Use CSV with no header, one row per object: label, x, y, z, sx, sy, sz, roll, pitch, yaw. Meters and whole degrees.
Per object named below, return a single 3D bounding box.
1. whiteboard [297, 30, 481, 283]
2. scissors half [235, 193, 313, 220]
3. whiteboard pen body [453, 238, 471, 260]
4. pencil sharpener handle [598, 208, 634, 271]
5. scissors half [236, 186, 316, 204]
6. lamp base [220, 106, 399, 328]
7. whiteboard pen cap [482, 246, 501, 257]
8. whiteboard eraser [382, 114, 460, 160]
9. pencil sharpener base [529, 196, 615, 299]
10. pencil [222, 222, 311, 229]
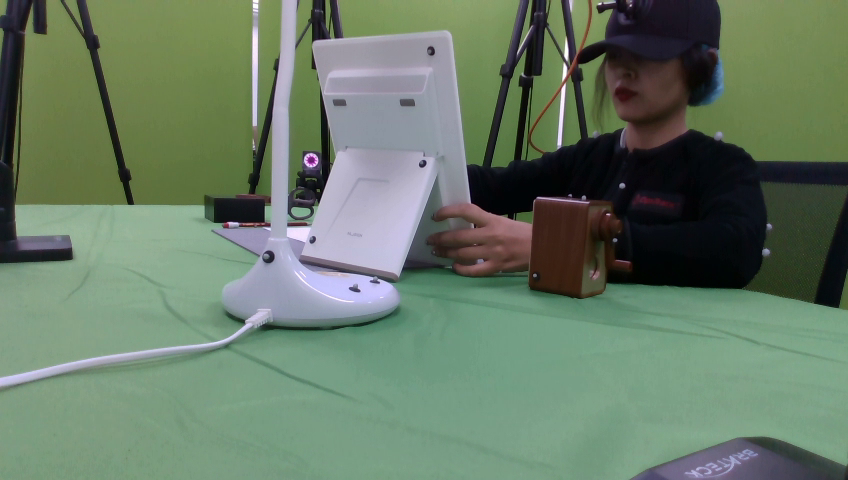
whiteboard,-0.074,-0.082,0.741,0.216,0.305,0.144,9,30,35
scissors half,-0.325,-0.077,1.319,0.176,0.040,0.012,17,6,-31
whiteboard pen body,0.058,0.015,0.912,0.017,0.017,0.140,2,10,-3
pencil sharpener handle,0.208,0.000,0.644,0.030,0.068,0.036,10,23,42
scissors half,-0.320,-0.097,1.316,0.176,0.040,0.013,-3,11,-29
lamp base,-0.102,-0.023,0.531,0.160,0.180,0.179,4,10,10
whiteboard pen cap,0.104,0.017,0.936,0.018,0.018,0.033,-1,3,-22
whiteboard eraser,-0.007,-0.133,0.779,0.112,0.055,0.042,9,23,41
pencil sharpener base,0.167,0.007,0.678,0.076,0.107,0.062,10,10,42
pencil,-0.302,-0.030,1.189,0.195,0.012,0.012,-2,9,-42
